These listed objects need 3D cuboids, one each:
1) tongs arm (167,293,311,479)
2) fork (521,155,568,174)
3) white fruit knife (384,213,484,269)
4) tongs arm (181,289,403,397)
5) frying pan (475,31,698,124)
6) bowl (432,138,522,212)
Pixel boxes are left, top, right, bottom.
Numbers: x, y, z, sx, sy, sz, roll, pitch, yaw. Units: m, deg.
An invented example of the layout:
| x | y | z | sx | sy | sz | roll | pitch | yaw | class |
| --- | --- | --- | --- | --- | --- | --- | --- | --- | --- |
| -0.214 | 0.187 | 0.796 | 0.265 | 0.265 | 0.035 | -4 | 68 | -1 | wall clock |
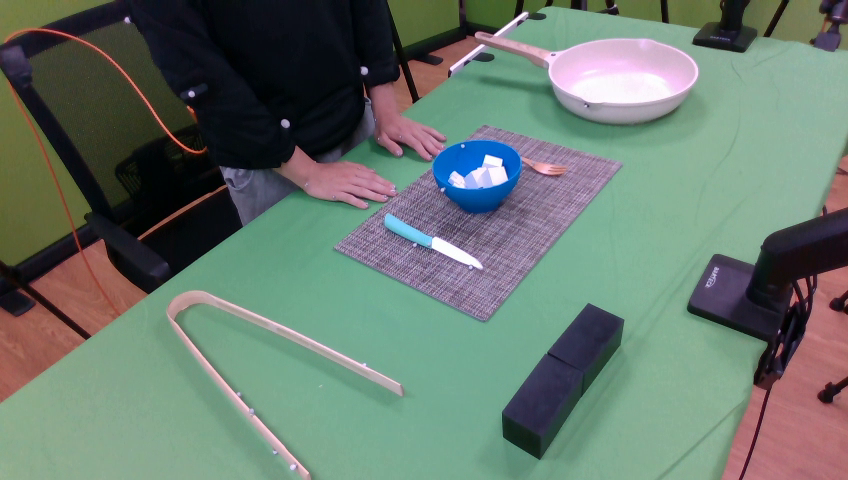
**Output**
| x | y | z | sx | sy | sz | roll | pitch | yaw | class |
| --- | --- | --- | --- | --- | --- | --- | --- | --- | --- |
| -0.245 | 0.176 | 0.787 | 0.381 | 0.026 | 0.051 | 29 | 51 | 36 | tongs arm |
| 0.168 | -0.152 | 1.117 | 0.206 | 0.019 | 0.028 | 21 | 58 | 27 | fork |
| 0.011 | 0.003 | 0.962 | 0.206 | 0.016 | 0.027 | 26 | 61 | 31 | white fruit knife |
| -0.192 | 0.135 | 0.834 | 0.385 | 0.028 | 0.028 | 18 | 49 | 26 | tongs arm |
| 0.320 | -0.371 | 1.290 | 0.485 | 0.103 | 0.307 | 28 | 50 | 23 | frying pan |
| 0.091 | -0.100 | 1.021 | 0.151 | 0.077 | 0.150 | -4 | 41 | 4 | bowl |
